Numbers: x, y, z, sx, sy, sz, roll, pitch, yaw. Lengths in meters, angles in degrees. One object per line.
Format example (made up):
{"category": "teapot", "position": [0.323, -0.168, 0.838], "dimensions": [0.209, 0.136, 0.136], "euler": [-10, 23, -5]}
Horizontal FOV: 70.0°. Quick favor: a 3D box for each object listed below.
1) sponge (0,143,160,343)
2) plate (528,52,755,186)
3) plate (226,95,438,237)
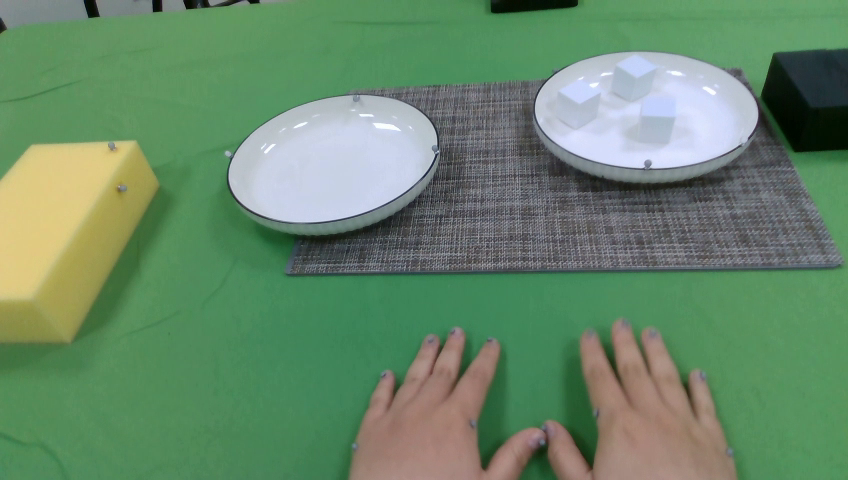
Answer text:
{"category": "sponge", "position": [-0.347, -0.004, 0.561], "dimensions": [0.118, 0.061, 0.205], "euler": [-2, 45, 6]}
{"category": "plate", "position": [0.208, -0.118, 0.598], "dimensions": [0.207, 0.039, 0.205], "euler": [-4, 45, 5]}
{"category": "plate", "position": [-0.087, -0.072, 0.600], "dimensions": [0.209, 0.038, 0.207], "euler": [-4, 44, 5]}
